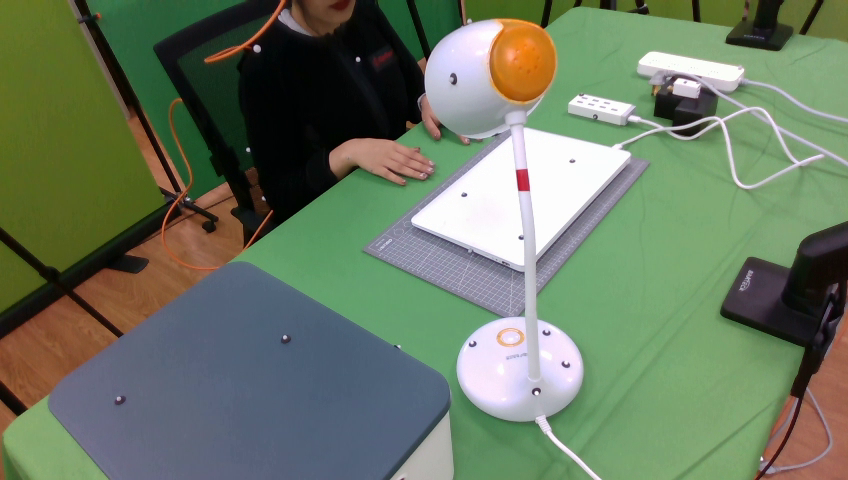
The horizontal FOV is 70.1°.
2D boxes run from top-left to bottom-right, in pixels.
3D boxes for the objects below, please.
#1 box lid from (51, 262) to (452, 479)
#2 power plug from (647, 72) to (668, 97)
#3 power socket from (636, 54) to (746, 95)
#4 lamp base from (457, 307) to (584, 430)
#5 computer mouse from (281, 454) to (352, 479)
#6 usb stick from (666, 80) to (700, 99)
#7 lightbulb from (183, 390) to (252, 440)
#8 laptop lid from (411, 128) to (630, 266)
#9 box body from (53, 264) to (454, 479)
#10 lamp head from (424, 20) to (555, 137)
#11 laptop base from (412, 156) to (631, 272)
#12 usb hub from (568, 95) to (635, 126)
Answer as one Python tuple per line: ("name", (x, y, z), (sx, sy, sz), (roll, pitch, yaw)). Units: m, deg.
("box lid", (-0.182, 0.156, 0.610), (0.368, 0.015, 0.264), (23, 49, 34))
("power plug", (0.494, -0.320, 1.260), (0.073, 0.052, 0.035), (1, 19, -40))
("power socket", (0.564, -0.357, 1.293), (0.225, 0.033, 0.072), (24, 51, 33))
("lamp base", (0.115, 0.108, 0.713), (0.161, 0.181, 0.178), (-16, 43, -8))
("computer mouse", (-0.110, 0.279, 0.656), (0.116, 0.041, 0.063), (20, 51, 36))
("usb stick", (0.492, -0.288, 1.152), (0.058, 0.027, 0.021), (20, 51, 34))
("lightbulb", (-0.262, 0.217, 0.753), (0.107, 0.060, 0.059), (-10, 35, 32))
("laptop lid", (0.172, -0.093, 1.049), (0.239, 0.013, 0.358), (24, 50, 36))
("box body", (-0.173, 0.212, 0.659), (0.361, 0.161, 0.255), (23, 50, 33))
("lamp head", (0.069, -0.153, 0.572), (0.113, 0.112, 0.122), (-22, 16, -14))
("laptop base", (0.176, -0.084, 1.055), (0.233, 0.023, 0.355), (21, 48, 36))
("usb hub", (0.360, -0.264, 1.228), (0.124, 0.025, 0.049), (24, 49, 34))
